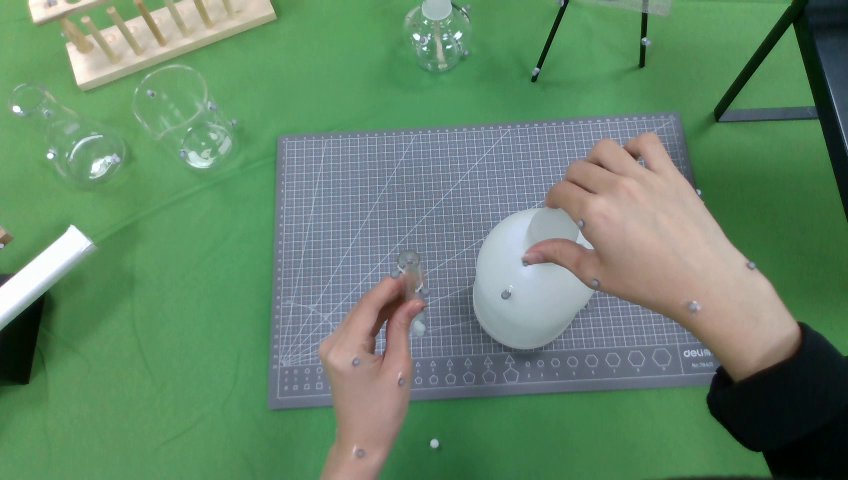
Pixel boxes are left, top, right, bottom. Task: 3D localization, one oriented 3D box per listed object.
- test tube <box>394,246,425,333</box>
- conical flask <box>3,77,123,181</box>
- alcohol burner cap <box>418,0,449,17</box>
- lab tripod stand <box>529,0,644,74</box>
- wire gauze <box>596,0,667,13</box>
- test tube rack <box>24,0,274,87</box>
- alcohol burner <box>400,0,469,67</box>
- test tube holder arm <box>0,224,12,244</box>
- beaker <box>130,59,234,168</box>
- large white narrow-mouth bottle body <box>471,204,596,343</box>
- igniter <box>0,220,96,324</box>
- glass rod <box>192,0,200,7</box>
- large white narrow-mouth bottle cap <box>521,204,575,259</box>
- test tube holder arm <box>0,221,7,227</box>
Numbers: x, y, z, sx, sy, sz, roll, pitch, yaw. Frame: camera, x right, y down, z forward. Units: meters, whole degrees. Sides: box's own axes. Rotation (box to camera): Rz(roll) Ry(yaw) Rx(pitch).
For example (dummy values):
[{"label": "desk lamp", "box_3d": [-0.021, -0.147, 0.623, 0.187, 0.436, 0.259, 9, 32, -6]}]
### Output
[{"label": "test tube", "box_3d": [-0.009, 0.042, 0.458, 0.017, 0.151, 0.017, -1, 64, 2]}, {"label": "conical flask", "box_3d": [-0.374, -0.117, 0.624, 0.075, 0.122, 0.075, -1, 70, 2]}, {"label": "alcohol burner cap", "box_3d": [0.009, -0.261, 0.631, 0.034, 0.048, 0.033, 0, 69, 1]}, {"label": "lab tripod stand", "box_3d": [0.181, -0.255, 0.652, 0.148, 0.132, 0.147, 0, 69, 0]}, {"label": "wire gauze", "box_3d": [0.186, -0.280, 0.589, 0.121, 0.011, 0.124, 17, 73, 6]}, {"label": "test tube rack", "box_3d": [-0.307, -0.268, 0.694, 0.242, 0.086, 0.066, -23, 71, -7]}, {"label": "alcohol burner", "box_3d": [0.011, -0.247, 0.664, 0.078, 0.120, 0.077, 0, 69, 0]}, {"label": "test tube holder arm", "box_3d": [-0.438, 0.019, 0.582, 0.010, 0.015, 0.087, 41, 76, 14]}, {"label": "beaker", "box_3d": [-0.249, -0.125, 0.636, 0.074, 0.101, 0.083, 11, 71, 6]}, {"label": "large white narrow-mouth bottle body", "box_3d": [0.094, 0.025, 0.521, 0.102, 0.196, 0.101, -1, 71, 2]}, {"label": "igniter", "box_3d": [-0.425, 0.086, 0.554, 0.057, 0.025, 0.276, 40, 73, 12]}, {"label": "glass rod", "box_3d": [-0.287, -0.326, 0.644, 0.008, 0.201, 0.008, -3, 64, 7]}, {"label": "large white narrow-mouth bottle cap", "box_3d": [0.089, -0.006, 0.430, 0.038, 0.024, 0.037, -1, 71, 2]}, {"label": "test tube holder arm", "box_3d": [-0.472, 0.047, 0.572, 0.013, 0.015, 0.178, 40, 75, 14]}]
